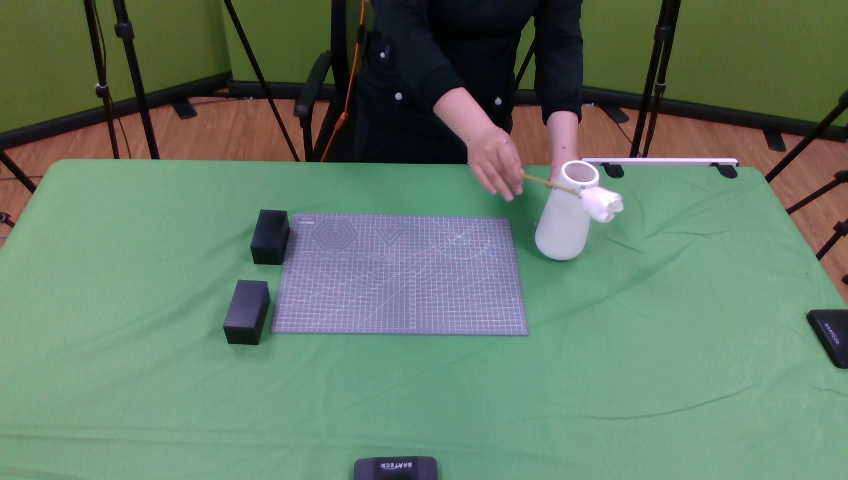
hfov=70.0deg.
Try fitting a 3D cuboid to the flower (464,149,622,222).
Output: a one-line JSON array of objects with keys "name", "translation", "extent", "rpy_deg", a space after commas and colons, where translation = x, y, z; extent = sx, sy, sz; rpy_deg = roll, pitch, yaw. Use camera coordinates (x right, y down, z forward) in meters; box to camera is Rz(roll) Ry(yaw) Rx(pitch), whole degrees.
[{"name": "flower", "translation": [0.166, -0.102, 0.960], "extent": [0.038, 0.044, 0.359], "rpy_deg": [11, 14, -35]}]

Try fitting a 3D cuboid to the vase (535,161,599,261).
[{"name": "vase", "translation": [0.270, -0.051, 1.145], "extent": [0.098, 0.201, 0.097], "rpy_deg": [1, 46, -1]}]
